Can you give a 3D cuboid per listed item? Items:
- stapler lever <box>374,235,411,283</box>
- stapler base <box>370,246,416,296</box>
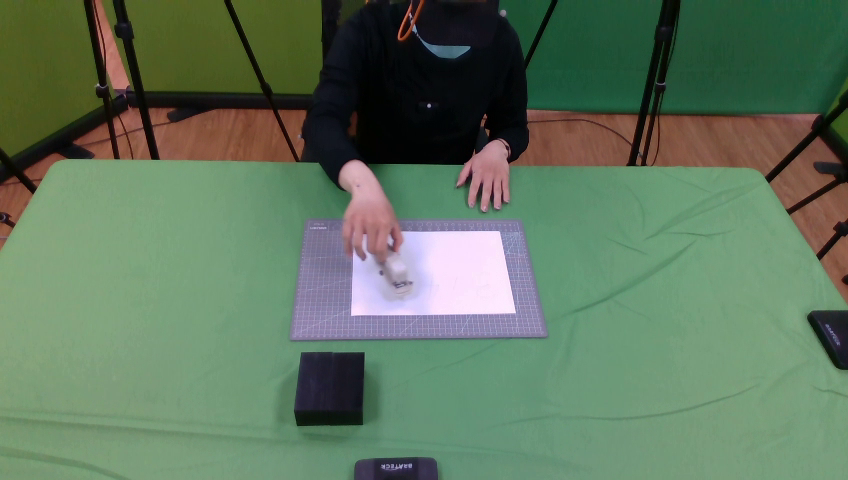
[{"bbox_3d":[-0.058,0.029,1.092,0.027,0.040,0.117,-18,49,-20],"label":"stapler lever"},{"bbox_3d":[-0.057,0.047,1.110,0.041,0.024,0.129,-18,49,-20],"label":"stapler base"}]
